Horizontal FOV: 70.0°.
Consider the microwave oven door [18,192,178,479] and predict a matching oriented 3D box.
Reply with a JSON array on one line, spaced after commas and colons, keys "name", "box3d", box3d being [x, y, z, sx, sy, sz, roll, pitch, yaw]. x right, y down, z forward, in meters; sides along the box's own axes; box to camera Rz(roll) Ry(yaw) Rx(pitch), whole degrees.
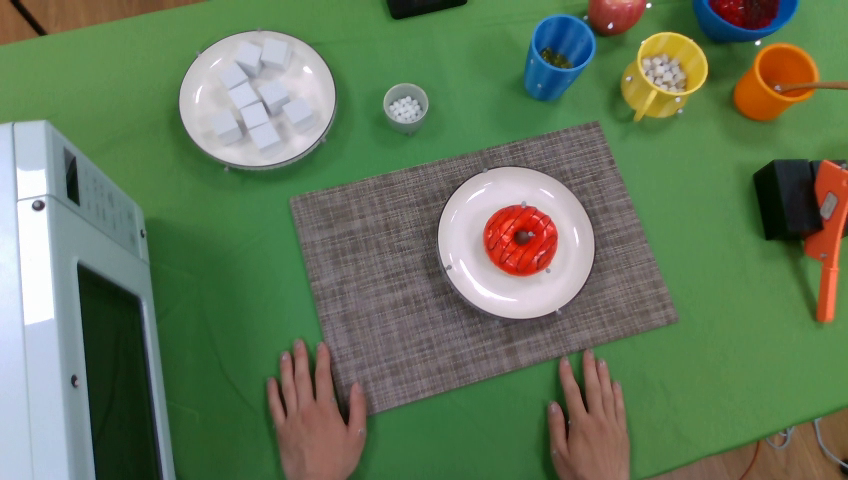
[{"name": "microwave oven door", "box3d": [-0.309, 0.158, 0.595, 0.039, 0.245, 0.353, -12, 75, -7]}]

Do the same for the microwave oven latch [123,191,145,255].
[{"name": "microwave oven latch", "box3d": [-0.364, -0.019, 0.747, 0.030, 0.029, 0.078, -10, 76, -7]}]

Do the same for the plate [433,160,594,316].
[{"name": "plate", "box3d": [0.115, -0.002, 0.791, 0.209, 0.038, 0.208, 1, 74, -3]}]

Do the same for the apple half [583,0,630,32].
[{"name": "apple half", "box3d": [0.261, -0.345, 0.886, 0.053, 0.075, 0.080, -10, 78, -3]}]

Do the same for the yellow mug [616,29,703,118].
[{"name": "yellow mug", "box3d": [0.326, -0.227, 0.860, 0.100, 0.064, 0.130, 32, 75, 5]}]

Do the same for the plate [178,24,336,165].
[{"name": "plate", "box3d": [-0.223, -0.195, 0.827, 0.208, 0.039, 0.206, 1, 74, -3]}]

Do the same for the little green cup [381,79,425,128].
[{"name": "little green cup", "box3d": [-0.029, -0.186, 0.838, 0.061, 0.039, 0.061, 1, 74, -3]}]

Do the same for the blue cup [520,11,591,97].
[{"name": "blue cup", "box3d": [0.173, -0.249, 0.837, 0.093, 0.100, 0.092, 1, 75, -5]}]

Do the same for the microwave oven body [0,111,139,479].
[{"name": "microwave oven body", "box3d": [-0.462, 0.149, 0.592, 0.326, 0.261, 0.439, -12, 76, -8]}]

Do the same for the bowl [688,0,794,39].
[{"name": "bowl", "box3d": [0.454, -0.355, 0.899, 0.151, 0.077, 0.150, 1, 75, -3]}]

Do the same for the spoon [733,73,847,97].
[{"name": "spoon", "box3d": [0.523, -0.214, 0.827, 0.022, 0.192, 0.041, 44, 71, -37]}]

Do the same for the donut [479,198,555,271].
[{"name": "donut", "box3d": [0.120, -0.007, 0.781, 0.099, 0.048, 0.098, 1, 75, -2]}]

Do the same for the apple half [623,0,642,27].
[{"name": "apple half", "box3d": [0.299, -0.353, 0.889, 0.033, 0.081, 0.081, -9, 74, -4]}]

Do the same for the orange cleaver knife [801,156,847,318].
[{"name": "orange cleaver knife", "box3d": [0.525, -0.004, 0.801, 0.012, 0.077, 0.212, -1, 103, -2]}]
